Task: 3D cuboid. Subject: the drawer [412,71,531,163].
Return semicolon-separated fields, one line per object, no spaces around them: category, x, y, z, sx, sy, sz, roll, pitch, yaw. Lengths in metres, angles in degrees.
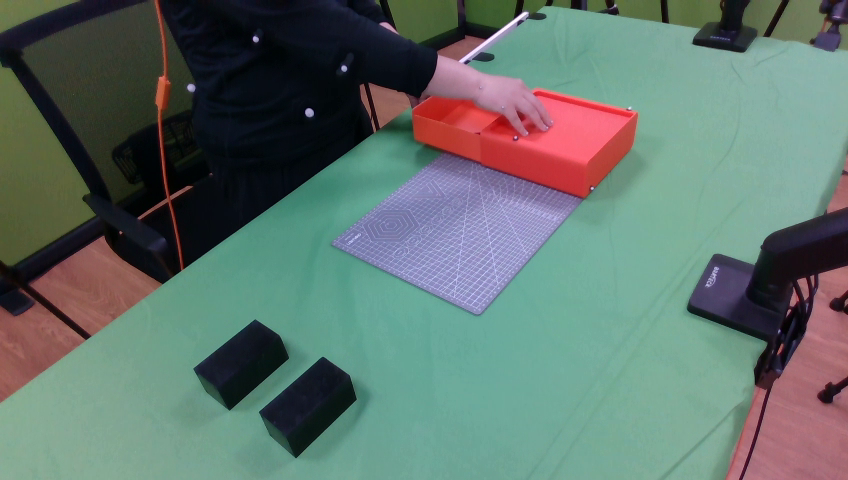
drawer;0.116;-0.237;1.177;0.210;0.073;0.195;24;48;27

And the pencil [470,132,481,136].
pencil;0.129;-0.210;1.185;0.194;0.012;0.012;-2;40;4

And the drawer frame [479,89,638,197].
drawer frame;0.243;-0.184;1.101;0.212;0.083;0.202;23;47;30
